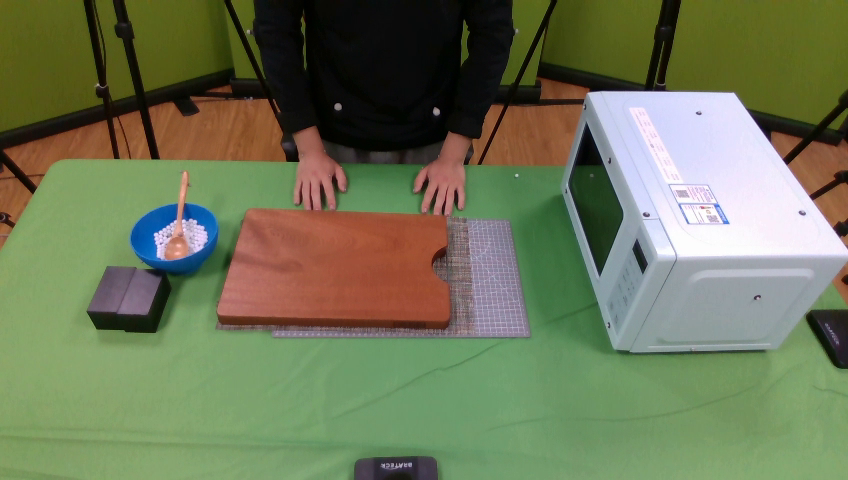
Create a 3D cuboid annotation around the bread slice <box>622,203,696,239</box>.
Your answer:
[{"bbox_3d":[0.466,-0.040,1.201,0.131,0.019,0.104,-3,37,9],"label":"bread slice"}]

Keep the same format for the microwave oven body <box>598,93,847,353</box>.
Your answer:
[{"bbox_3d":[0.475,-0.041,1.110,0.326,0.261,0.438,-1,45,-4],"label":"microwave oven body"}]

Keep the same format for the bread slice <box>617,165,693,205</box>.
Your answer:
[{"bbox_3d":[0.442,-0.104,1.150,0.135,0.018,0.106,-1,41,-24],"label":"bread slice"}]

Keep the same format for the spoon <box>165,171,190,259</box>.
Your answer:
[{"bbox_3d":[-0.452,-0.046,1.129,0.041,0.022,0.193,-1,69,-2],"label":"spoon"}]

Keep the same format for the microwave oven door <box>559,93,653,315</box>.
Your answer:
[{"bbox_3d":[0.327,-0.074,1.123,0.039,0.245,0.353,-1,46,-5],"label":"microwave oven door"}]

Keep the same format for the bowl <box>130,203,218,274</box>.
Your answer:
[{"bbox_3d":[-0.450,0.010,1.116,0.151,0.077,0.150,3,45,-2],"label":"bowl"}]

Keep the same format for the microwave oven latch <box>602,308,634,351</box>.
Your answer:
[{"bbox_3d":[0.332,0.153,1.044,0.030,0.029,0.078,-1,45,-4],"label":"microwave oven latch"}]

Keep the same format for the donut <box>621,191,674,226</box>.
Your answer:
[{"bbox_3d":[0.433,-0.061,1.174,0.099,0.048,0.098,-7,27,4],"label":"donut"}]
